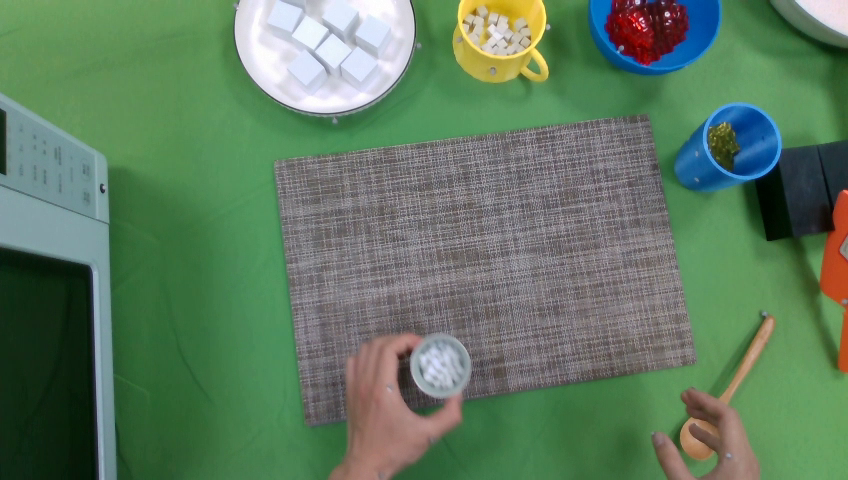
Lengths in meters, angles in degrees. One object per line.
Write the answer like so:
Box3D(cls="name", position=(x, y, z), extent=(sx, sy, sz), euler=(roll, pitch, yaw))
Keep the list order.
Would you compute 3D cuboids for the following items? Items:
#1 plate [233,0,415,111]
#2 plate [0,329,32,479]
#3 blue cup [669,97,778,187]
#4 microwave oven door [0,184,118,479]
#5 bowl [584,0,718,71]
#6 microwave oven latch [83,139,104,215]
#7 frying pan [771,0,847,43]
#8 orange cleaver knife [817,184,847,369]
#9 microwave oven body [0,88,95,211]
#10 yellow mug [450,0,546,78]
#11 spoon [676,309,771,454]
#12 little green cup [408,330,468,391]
Box3D(cls="plate", position=(-0.114, -0.248, 0.708), extent=(0.208, 0.039, 0.207), euler=(0, 83, -3))
Box3D(cls="plate", position=(-0.478, 0.161, 0.576), extent=(0.209, 0.038, 0.208), euler=(0, 85, -4))
Box3D(cls="blue cup", position=(0.326, -0.101, 0.682), extent=(0.093, 0.100, 0.092), euler=(1, 81, -4))
Box3D(cls="microwave oven door", position=(-0.341, 0.137, 0.529), extent=(0.039, 0.244, 0.354), euler=(-5, 83, -3))
Box3D(cls="bowl", position=(0.252, -0.260, 0.709), extent=(0.151, 0.077, 0.151), euler=(0, 84, -3))
Box3D(cls="microwave oven latch", position=(-0.364, -0.067, 0.654), extent=(0.030, 0.029, 0.079), euler=(-3, 84, -4))
Box3D(cls="frying pan", position=(0.536, -0.271, 0.711), extent=(0.307, 0.103, 0.485), euler=(-3, 75, -2))
Box3D(cls="orange cleaver knife", position=(0.473, 0.044, 0.682), extent=(0.012, 0.076, 0.212), euler=(-9, 112, -4))
Box3D(cls="microwave oven body", position=(-0.491, 0.108, 0.529), extent=(0.326, 0.260, 0.440), euler=(-5, 84, -4))
Box3D(cls="yellow mug", position=(0.094, -0.238, 0.704), extent=(0.131, 0.064, 0.100), euler=(45, 83, 2))
Box3D(cls="spoon", position=(0.348, 0.158, 0.692), extent=(0.041, 0.022, 0.193), euler=(35, 83, 14))
Box3D(cls="little green cup", position=(0.015, 0.123, 0.625), extent=(0.061, 0.039, 0.061), euler=(0, 84, 4))
